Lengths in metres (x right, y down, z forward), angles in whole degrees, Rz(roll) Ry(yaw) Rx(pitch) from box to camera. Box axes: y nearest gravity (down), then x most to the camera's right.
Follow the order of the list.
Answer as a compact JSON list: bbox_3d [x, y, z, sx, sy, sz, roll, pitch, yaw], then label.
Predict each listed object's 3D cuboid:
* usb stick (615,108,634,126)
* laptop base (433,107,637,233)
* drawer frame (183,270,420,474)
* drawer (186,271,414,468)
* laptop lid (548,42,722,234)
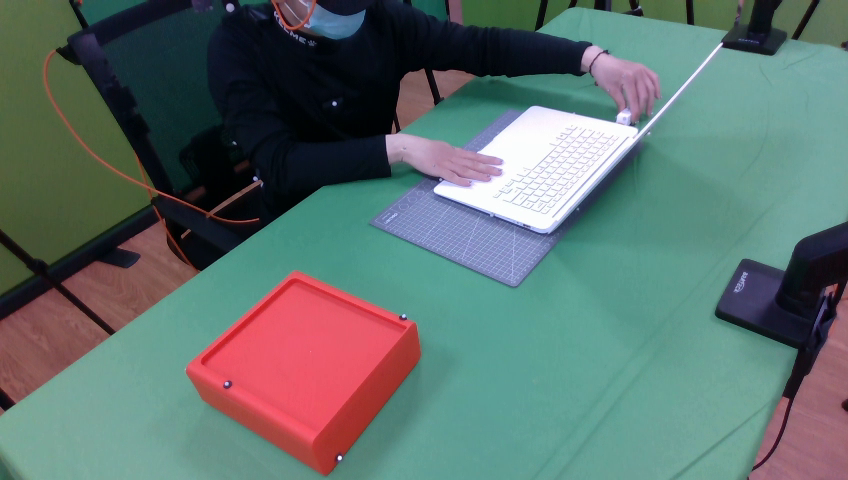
[{"bbox_3d":[0.388,-0.234,1.178,0.021,0.027,0.059,23,45,30],"label":"usb stick"},{"bbox_3d":[0.210,-0.142,1.111,0.233,0.023,0.355,21,47,33],"label":"laptop base"},{"bbox_3d":[-0.148,0.153,0.767,0.212,0.083,0.202,20,46,27],"label":"drawer frame"},{"bbox_3d":[-0.150,0.153,0.768,0.210,0.073,0.195,20,46,28],"label":"drawer"},{"bbox_3d":[0.336,-0.161,0.956,0.013,0.241,0.358,42,54,8],"label":"laptop lid"}]
